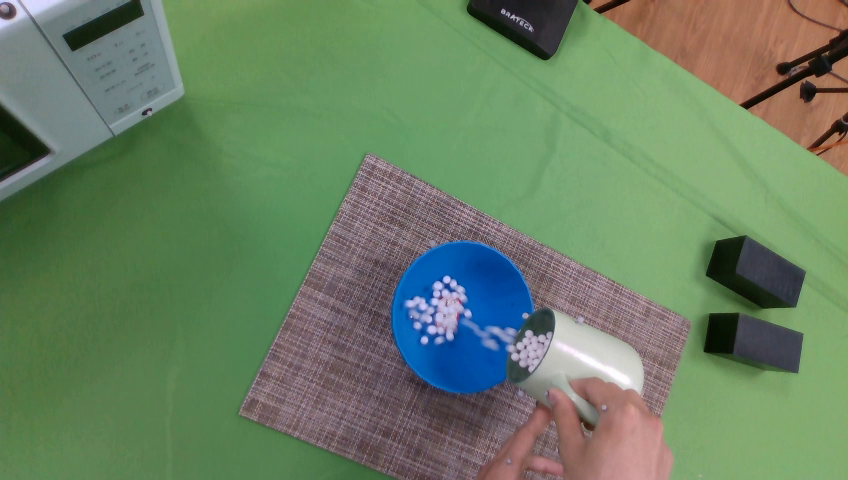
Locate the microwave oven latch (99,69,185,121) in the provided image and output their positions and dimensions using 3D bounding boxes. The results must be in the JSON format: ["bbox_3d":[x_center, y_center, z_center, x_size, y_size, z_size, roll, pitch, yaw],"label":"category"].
[{"bbox_3d":[-0.265,-0.145,0.570,0.079,0.029,0.030,-35,95,-17],"label":"microwave oven latch"}]

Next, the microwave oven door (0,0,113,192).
[{"bbox_3d":[-0.407,-0.032,0.409,0.355,0.243,0.039,-37,94,-17],"label":"microwave oven door"}]

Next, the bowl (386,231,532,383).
[{"bbox_3d":[0.027,0.070,0.629,0.152,0.076,0.151,2,83,-17],"label":"bowl"}]

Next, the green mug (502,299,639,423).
[{"bbox_3d":[0.140,0.120,0.561,0.105,0.124,0.092,30,105,-13],"label":"green mug"}]

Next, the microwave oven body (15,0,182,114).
[{"bbox_3d":[-0.461,-0.174,0.414,0.441,0.259,0.326,-37,95,-16],"label":"microwave oven body"}]
